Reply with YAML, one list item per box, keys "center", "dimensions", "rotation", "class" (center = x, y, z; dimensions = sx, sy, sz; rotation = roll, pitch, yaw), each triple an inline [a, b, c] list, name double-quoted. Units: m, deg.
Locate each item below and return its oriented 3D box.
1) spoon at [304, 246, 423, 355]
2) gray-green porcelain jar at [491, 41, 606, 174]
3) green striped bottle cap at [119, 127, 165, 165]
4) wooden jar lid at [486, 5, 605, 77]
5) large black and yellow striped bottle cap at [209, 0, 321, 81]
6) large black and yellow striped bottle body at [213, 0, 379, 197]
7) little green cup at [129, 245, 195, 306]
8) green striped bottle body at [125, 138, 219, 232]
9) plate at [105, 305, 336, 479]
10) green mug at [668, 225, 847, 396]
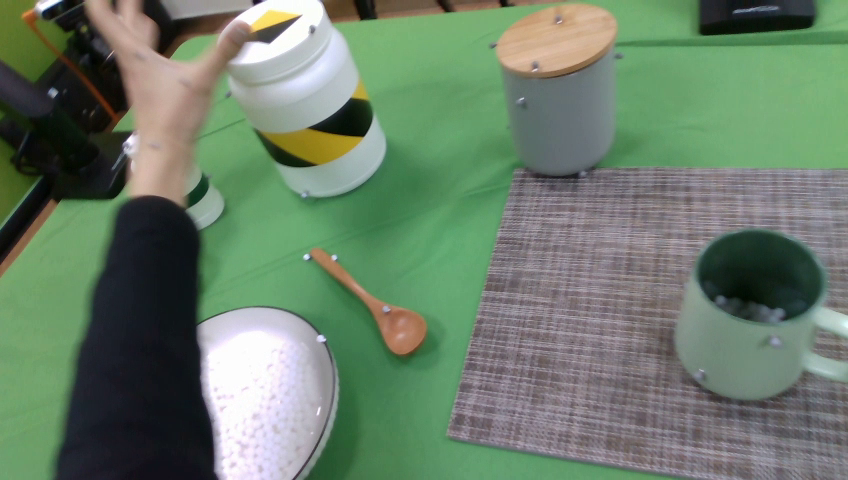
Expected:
- center: [-0.066, 0.049, 0.590]
  dimensions: [0.192, 0.022, 0.041]
  rotation: [36, 89, 36]
  class: "spoon"
- center: [0.128, -0.138, 0.606]
  dimensions: [0.106, 0.128, 0.105]
  rotation: [-9, 46, 10]
  class: "gray-green porcelain jar"
- center: [-0.306, -0.101, 0.657]
  dimensions: [0.044, 0.020, 0.044]
  rotation: [-7, 53, 9]
  class: "green striped bottle cap"
- center: [0.113, -0.180, 0.561]
  dimensions: [0.108, 0.021, 0.107]
  rotation: [-11, 47, 13]
  class: "wooden jar lid"
- center: [-0.159, -0.201, 0.604]
  dimensions: [0.115, 0.019, 0.114]
  rotation: [-9, 49, 11]
  class: "large black and yellow striped bottle cap"
- center: [-0.137, -0.152, 0.668]
  dimensions: [0.130, 0.186, 0.129]
  rotation: [-9, 50, 12]
  class: "large black and yellow striped bottle body"
- center: [-0.282, 0.041, 0.658]
  dimensions: [0.061, 0.039, 0.061]
  rotation: [-9, 49, 11]
  class: "little green cup"
- center: [-0.293, -0.069, 0.695]
  dimensions: [0.063, 0.120, 0.062]
  rotation: [-9, 50, 12]
  class: "green striped bottle body"
- center: [-0.172, 0.153, 0.530]
  dimensions: [0.209, 0.038, 0.207]
  rotation: [-9, 50, 11]
  class: "plate"
- center: [0.238, 0.057, 0.423]
  dimensions: [0.124, 0.106, 0.092]
  rotation: [23, 62, 32]
  class: "green mug"
